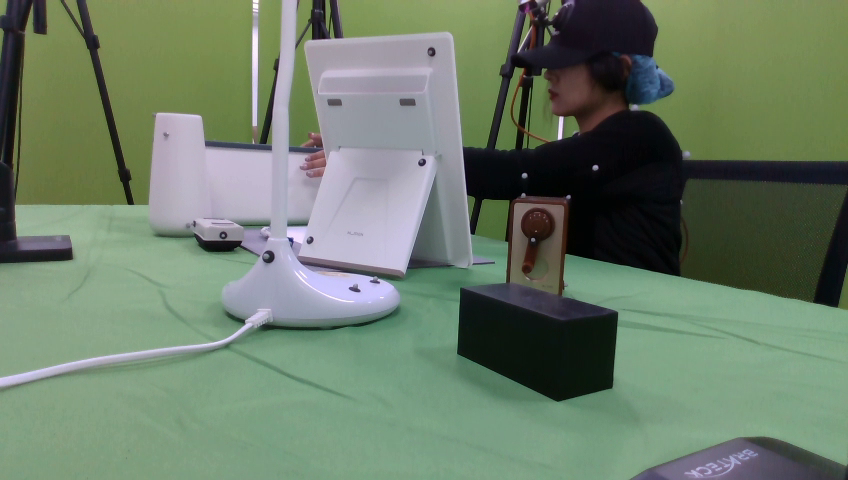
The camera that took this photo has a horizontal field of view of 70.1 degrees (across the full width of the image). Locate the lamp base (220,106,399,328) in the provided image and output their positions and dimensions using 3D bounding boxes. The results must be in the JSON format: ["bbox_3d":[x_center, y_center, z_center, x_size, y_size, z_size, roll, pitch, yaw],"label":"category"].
[{"bbox_3d":[-0.101,-0.023,0.531,0.160,0.180,0.179,4,10,10],"label":"lamp base"}]

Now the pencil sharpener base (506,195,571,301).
[{"bbox_3d":[0.126,0.007,0.662,0.061,0.107,0.077,4,8,13],"label":"pencil sharpener base"}]

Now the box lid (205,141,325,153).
[{"bbox_3d":[-0.357,-0.196,1.284,0.373,0.015,0.262,-2,9,-32],"label":"box lid"}]

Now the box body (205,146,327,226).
[{"bbox_3d":[-0.363,-0.123,1.293,0.366,0.160,0.253,-2,9,-32],"label":"box body"}]

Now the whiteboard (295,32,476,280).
[{"bbox_3d":[-0.076,-0.084,0.747,0.216,0.305,0.144,7,28,29],"label":"whiteboard"}]

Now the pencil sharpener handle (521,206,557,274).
[{"bbox_3d":[0.112,0.000,0.611,0.036,0.067,0.031,13,10,11],"label":"pencil sharpener handle"}]

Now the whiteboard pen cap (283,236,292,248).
[{"bbox_3d":[-0.211,0.003,0.913,0.018,0.018,0.033,-2,6,-28],"label":"whiteboard pen cap"}]

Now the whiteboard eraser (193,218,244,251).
[{"bbox_3d":[-0.307,-0.010,0.900,0.056,0.042,0.112,-4,10,-28],"label":"whiteboard eraser"}]

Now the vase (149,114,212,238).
[{"bbox_3d":[-0.405,-0.106,1.005,0.098,0.200,0.098,2,6,0],"label":"vase"}]

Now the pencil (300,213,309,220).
[{"bbox_3d":[-0.266,-0.055,1.351,0.012,0.012,0.193,1,4,-8],"label":"pencil"}]

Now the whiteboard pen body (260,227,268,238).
[{"bbox_3d":[-0.239,-0.005,0.964,0.017,0.017,0.140,-2,9,-28],"label":"whiteboard pen body"}]
